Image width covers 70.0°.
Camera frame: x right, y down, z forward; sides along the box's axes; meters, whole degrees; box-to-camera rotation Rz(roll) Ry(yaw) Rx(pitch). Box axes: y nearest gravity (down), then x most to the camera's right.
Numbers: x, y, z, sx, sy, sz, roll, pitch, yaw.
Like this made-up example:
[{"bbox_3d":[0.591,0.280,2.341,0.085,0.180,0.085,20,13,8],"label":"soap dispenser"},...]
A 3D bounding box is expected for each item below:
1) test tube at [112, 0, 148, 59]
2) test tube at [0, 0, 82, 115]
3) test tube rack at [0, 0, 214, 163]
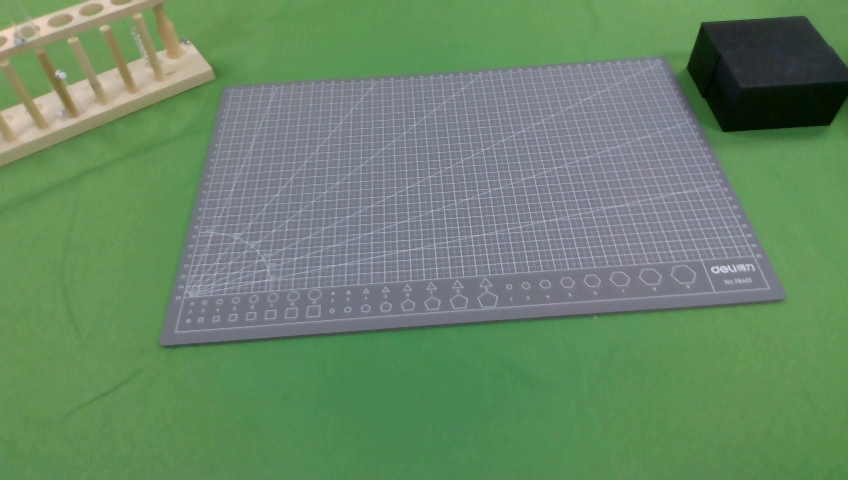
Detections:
[{"bbox_3d":[-0.290,-0.238,0.568,0.017,0.152,0.017,-4,48,4],"label":"test tube"},{"bbox_3d":[-0.339,-0.172,0.524,0.017,0.152,0.017,-2,49,3],"label":"test tube"},{"bbox_3d":[-0.336,-0.160,0.572,0.242,0.086,0.066,-30,56,-19],"label":"test tube rack"}]
